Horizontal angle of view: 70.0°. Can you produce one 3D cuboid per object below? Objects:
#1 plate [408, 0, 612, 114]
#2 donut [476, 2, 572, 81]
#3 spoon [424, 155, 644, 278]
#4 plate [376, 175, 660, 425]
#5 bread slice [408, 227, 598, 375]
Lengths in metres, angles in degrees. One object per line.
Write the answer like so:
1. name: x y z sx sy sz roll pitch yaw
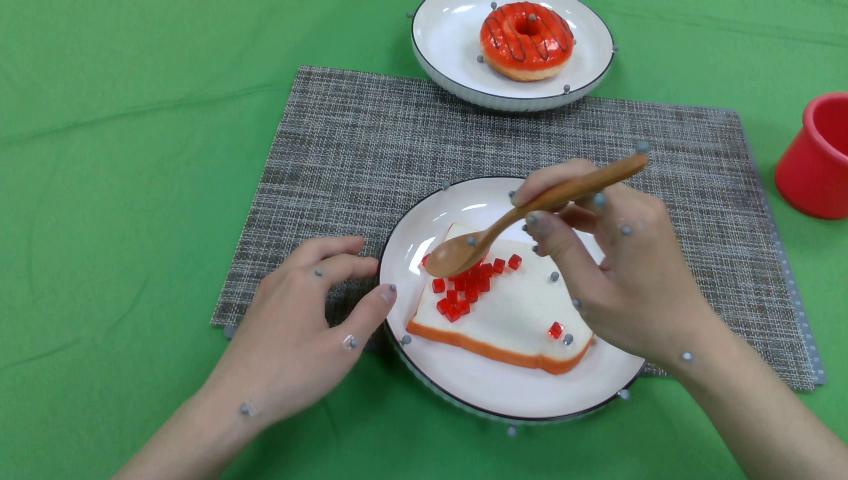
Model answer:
1. plate: 0.087 -0.198 0.630 0.208 0.039 0.205 3 53 -3
2. donut: 0.102 -0.202 0.620 0.099 0.048 0.098 3 55 -3
3. spoon: 0.054 -0.011 0.368 0.022 0.193 0.041 40 58 -10
4. plate: 0.068 0.040 0.457 0.209 0.038 0.207 2 55 -2
5. bread slice: 0.065 0.044 0.458 0.131 0.019 0.104 15 55 9
